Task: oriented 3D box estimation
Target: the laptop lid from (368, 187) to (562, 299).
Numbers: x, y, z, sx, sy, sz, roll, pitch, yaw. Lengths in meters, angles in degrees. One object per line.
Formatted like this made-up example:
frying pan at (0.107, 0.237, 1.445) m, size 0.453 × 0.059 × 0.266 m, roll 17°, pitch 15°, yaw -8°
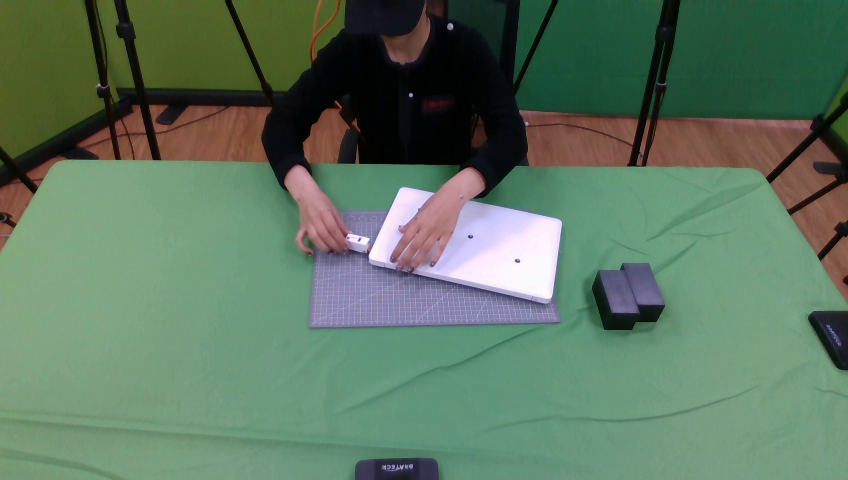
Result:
laptop lid at (0.090, -0.005, 1.198) m, size 0.356 × 0.013 × 0.240 m, roll 13°, pitch 43°, yaw 9°

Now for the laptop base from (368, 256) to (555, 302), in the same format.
laptop base at (0.089, 0.005, 1.205) m, size 0.354 × 0.023 × 0.234 m, roll 12°, pitch 42°, yaw 8°

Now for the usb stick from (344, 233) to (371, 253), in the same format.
usb stick at (-0.123, 0.007, 1.167) m, size 0.059 × 0.027 × 0.021 m, roll 17°, pitch 46°, yaw 8°
